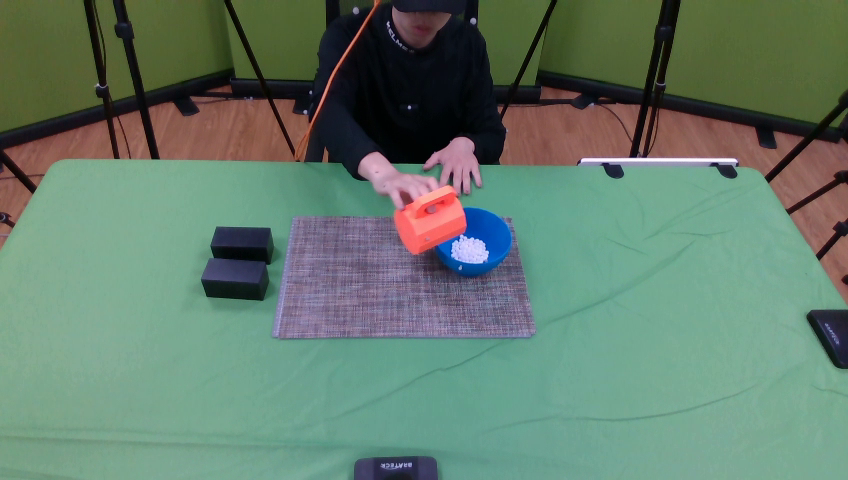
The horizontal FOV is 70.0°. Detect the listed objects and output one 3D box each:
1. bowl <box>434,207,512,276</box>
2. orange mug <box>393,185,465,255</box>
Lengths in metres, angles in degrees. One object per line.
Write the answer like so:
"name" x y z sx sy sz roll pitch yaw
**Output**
"bowl" 0.086 0.016 1.146 0.151 0.077 0.150 2 46 -2
"orange mug" 0.010 -0.042 1.032 0.101 0.126 0.083 -23 64 -23
